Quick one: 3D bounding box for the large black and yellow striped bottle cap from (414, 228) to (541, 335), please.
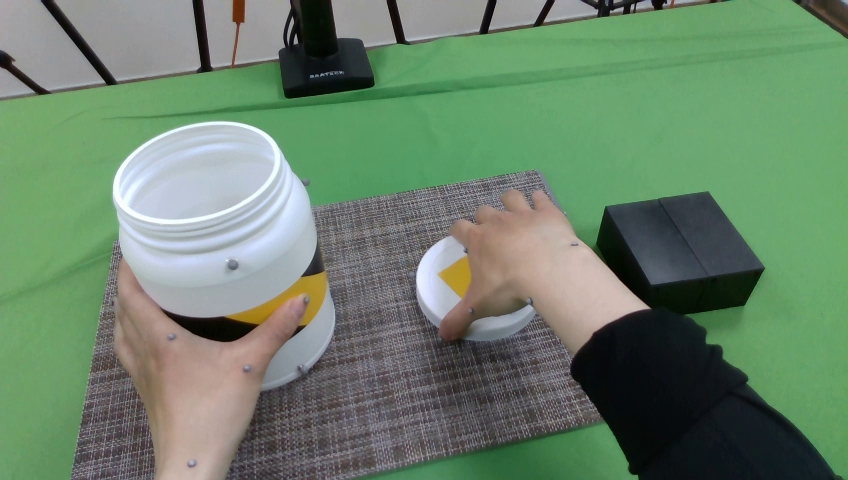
[{"bbox_3d":[0.048,0.035,0.550,0.115,0.019,0.114,-1,46,2],"label":"large black and yellow striped bottle cap"}]

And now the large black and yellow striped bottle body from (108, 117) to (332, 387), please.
[{"bbox_3d":[-0.147,0.012,0.463,0.131,0.186,0.129,-1,46,2],"label":"large black and yellow striped bottle body"}]
